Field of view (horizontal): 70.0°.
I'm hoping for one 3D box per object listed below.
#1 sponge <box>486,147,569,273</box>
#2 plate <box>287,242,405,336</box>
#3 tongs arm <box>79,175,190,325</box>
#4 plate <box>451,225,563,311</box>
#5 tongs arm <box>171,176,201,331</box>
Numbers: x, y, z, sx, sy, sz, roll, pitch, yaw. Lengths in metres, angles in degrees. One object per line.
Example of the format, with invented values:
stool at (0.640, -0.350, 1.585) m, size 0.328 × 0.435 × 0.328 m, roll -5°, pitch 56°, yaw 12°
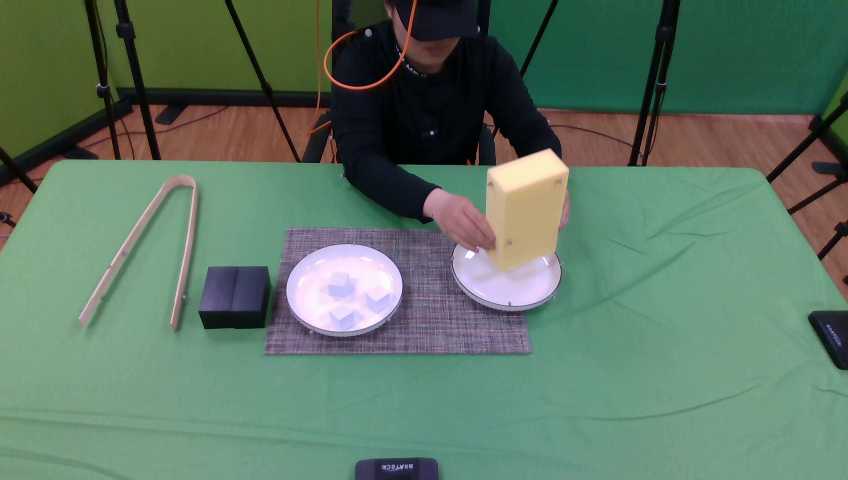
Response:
sponge at (0.172, -0.047, 1.035) m, size 0.118 × 0.208 × 0.060 m, roll -21°, pitch 51°, yaw -13°
plate at (-0.138, 0.090, 1.084) m, size 0.208 × 0.039 × 0.206 m, roll 2°, pitch 46°, yaw -2°
tongs arm at (-0.534, 0.005, 1.145) m, size 0.051 × 0.026 × 0.382 m, roll 6°, pitch 45°, yaw 0°
plate at (0.154, 0.054, 1.140) m, size 0.209 × 0.038 × 0.208 m, roll 2°, pitch 46°, yaw -2°
tongs arm at (-0.453, 0.010, 1.151) m, size 0.028 × 0.028 × 0.385 m, roll -6°, pitch 47°, yaw -6°
